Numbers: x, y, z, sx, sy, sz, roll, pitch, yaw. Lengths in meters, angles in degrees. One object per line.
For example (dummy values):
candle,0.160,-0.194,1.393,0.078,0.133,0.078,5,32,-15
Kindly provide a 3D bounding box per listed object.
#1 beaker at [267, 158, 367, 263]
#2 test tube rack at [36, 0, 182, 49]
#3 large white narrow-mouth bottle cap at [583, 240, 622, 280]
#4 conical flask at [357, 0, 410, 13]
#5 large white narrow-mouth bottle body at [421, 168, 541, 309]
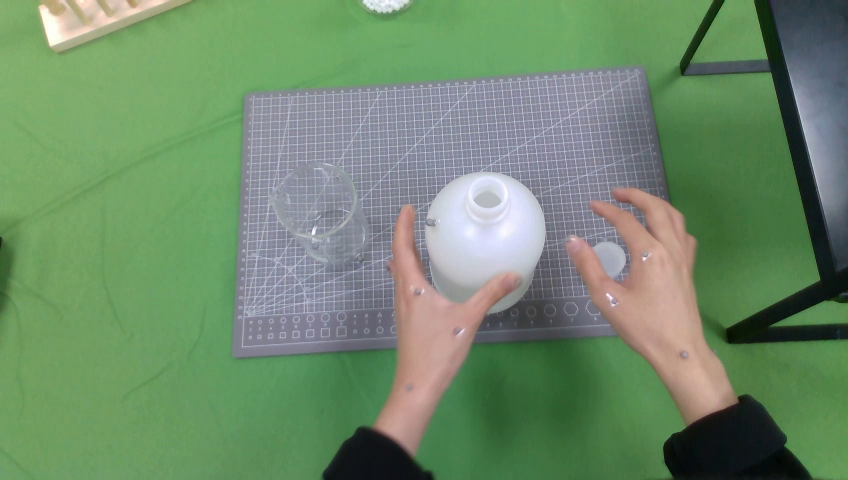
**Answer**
beaker,-0.098,-0.024,0.585,0.084,0.101,0.073,6,71,5
test tube rack,-0.345,-0.316,0.702,0.242,0.086,0.066,-24,72,-5
large white narrow-mouth bottle cap,0.177,0.020,0.600,0.038,0.024,0.037,-1,73,4
conical flask,-0.050,-0.319,0.671,0.075,0.122,0.075,-1,71,3
large white narrow-mouth bottle body,0.049,-0.005,0.524,0.102,0.196,0.101,-1,72,5
